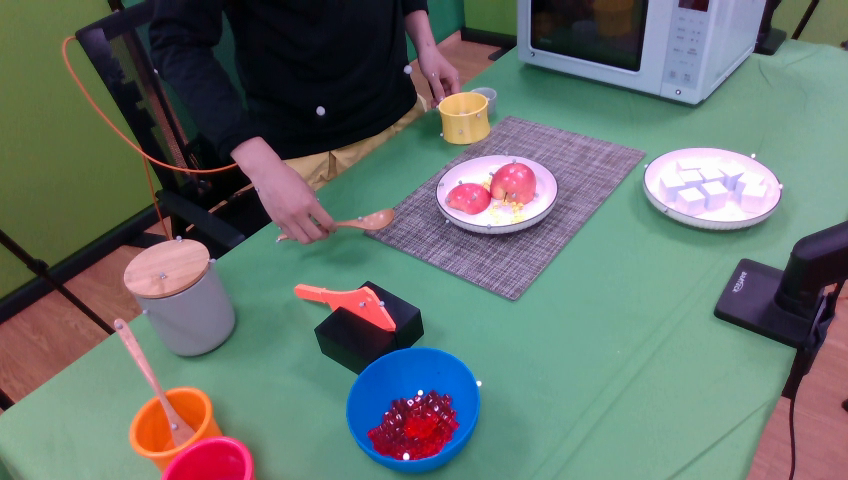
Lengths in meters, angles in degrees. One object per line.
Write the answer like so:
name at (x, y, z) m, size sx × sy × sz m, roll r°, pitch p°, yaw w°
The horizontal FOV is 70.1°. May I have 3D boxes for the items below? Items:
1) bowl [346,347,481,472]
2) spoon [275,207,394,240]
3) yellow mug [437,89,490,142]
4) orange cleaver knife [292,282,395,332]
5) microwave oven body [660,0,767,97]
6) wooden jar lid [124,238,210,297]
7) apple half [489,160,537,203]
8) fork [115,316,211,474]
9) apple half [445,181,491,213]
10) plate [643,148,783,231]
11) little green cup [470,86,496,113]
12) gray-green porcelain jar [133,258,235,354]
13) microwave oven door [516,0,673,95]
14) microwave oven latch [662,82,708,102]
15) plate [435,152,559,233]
bowl at (-0.008, 0.205, 0.691) m, size 0.151 × 0.077 × 0.150 m, roll -4°, pitch 40°, yaw 4°
spoon at (-0.142, -0.024, 0.953) m, size 0.194 × 0.022 × 0.041 m, roll -8°, pitch 47°, yaw 1°
yellow mug at (0.071, -0.257, 1.224) m, size 0.100 × 0.064 × 0.129 m, roll -33°, pitch 43°, yaw -25°
orange cleaver knife at (-0.116, 0.091, 0.835) m, size 0.209 × 0.077 × 0.012 m, roll 2°, pitch 32°, yaw 48°
microwave oven body at (0.474, -0.517, 1.314) m, size 0.438 × 0.261 × 0.327 m, roll 26°, pitch 51°, yaw 34°
wooden jar lid at (-0.335, 0.039, 0.794) m, size 0.108 × 0.021 × 0.108 m, roll -2°, pitch 40°, yaw 2°
apple half at (0.154, -0.106, 1.030) m, size 0.080 × 0.053 × 0.075 m, roll 22°, pitch 46°, yaw 31°
fork at (-0.308, 0.179, 0.708) m, size 0.028 × 0.018 × 0.207 m, roll -30°, pitch 89°, yaw -22°
apple half at (0.076, -0.083, 1.029) m, size 0.081 × 0.033 × 0.081 m, roll -2°, pitch 41°, yaw 2°
plate at (0.464, -0.080, 0.986) m, size 0.207 × 0.039 × 0.206 m, roll -4°, pitch 41°, yaw 4°
little green cup at (0.124, -0.297, 1.284) m, size 0.061 × 0.039 × 0.061 m, roll -5°, pitch 39°, yaw 5°
gray-green porcelain jar at (-0.328, 0.086, 0.836) m, size 0.106 × 0.127 × 0.105 m, roll -4°, pitch 41°, yaw 4°
microwave oven door at (0.344, -0.458, 1.256) m, size 0.353 × 0.245 × 0.039 m, roll 26°, pitch 51°, yaw 33°
microwave oven latch at (0.517, -0.298, 1.203) m, size 0.078 × 0.029 × 0.030 m, roll 27°, pitch 52°, yaw 34°
plate at (0.124, -0.078, 1.026) m, size 0.209 × 0.038 × 0.208 m, roll -4°, pitch 40°, yaw 4°
